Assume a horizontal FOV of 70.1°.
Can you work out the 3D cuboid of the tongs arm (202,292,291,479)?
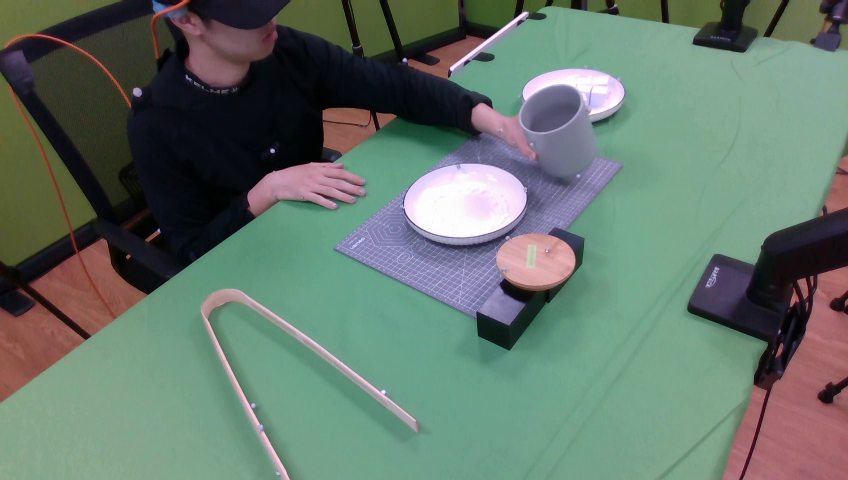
[{"bbox_3d":[-0.216,0.187,0.772,0.051,0.026,0.381,-27,43,-24],"label":"tongs arm"}]

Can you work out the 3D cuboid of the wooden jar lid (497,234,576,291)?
[{"bbox_3d":[0.155,0.032,0.834,0.108,0.021,0.108,-5,40,5],"label":"wooden jar lid"}]

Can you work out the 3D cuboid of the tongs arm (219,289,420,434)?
[{"bbox_3d":[-0.152,0.151,0.812,0.384,0.028,0.028,26,52,33],"label":"tongs arm"}]

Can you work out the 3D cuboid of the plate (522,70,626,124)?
[{"bbox_3d":[0.308,-0.289,1.251,0.207,0.039,0.206,-4,40,4],"label":"plate"}]

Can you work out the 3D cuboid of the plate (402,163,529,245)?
[{"bbox_3d":[0.070,-0.056,1.008,0.209,0.038,0.208,-4,40,4],"label":"plate"}]

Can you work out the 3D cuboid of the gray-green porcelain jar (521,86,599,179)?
[{"bbox_3d":[0.228,-0.172,0.999,0.105,0.127,0.105,-15,51,20],"label":"gray-green porcelain jar"}]
